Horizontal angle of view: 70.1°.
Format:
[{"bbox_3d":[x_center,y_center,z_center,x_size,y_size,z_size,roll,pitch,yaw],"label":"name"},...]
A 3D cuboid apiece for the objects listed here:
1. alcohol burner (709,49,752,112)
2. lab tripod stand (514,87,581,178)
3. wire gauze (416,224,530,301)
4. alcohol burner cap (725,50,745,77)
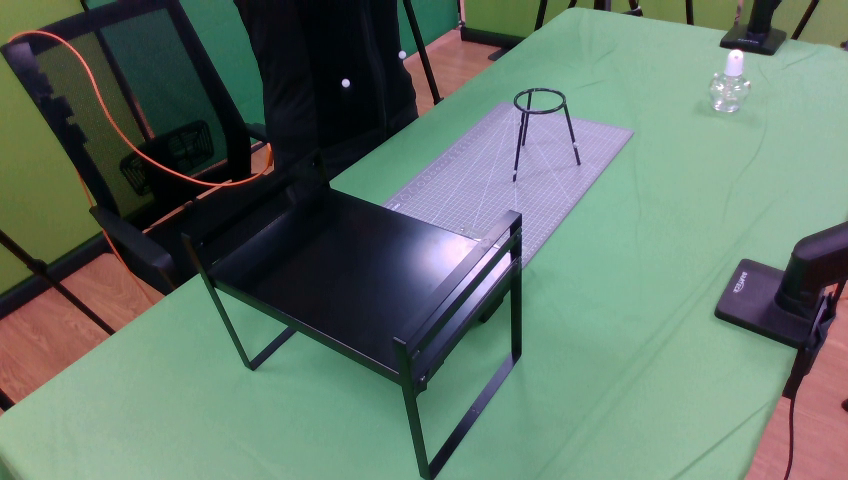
[{"bbox_3d":[0.600,-0.313,1.178,0.078,0.119,0.077,-5,40,5],"label":"alcohol burner"},{"bbox_3d":[0.211,-0.196,1.083,0.148,0.132,0.147,-3,39,3],"label":"lab tripod stand"},{"bbox_3d":[0.071,0.025,0.872,0.124,0.011,0.122,27,50,33],"label":"wire gauze"},{"bbox_3d":[0.596,-0.340,1.154,0.034,0.048,0.033,-8,45,8],"label":"alcohol burner cap"}]
